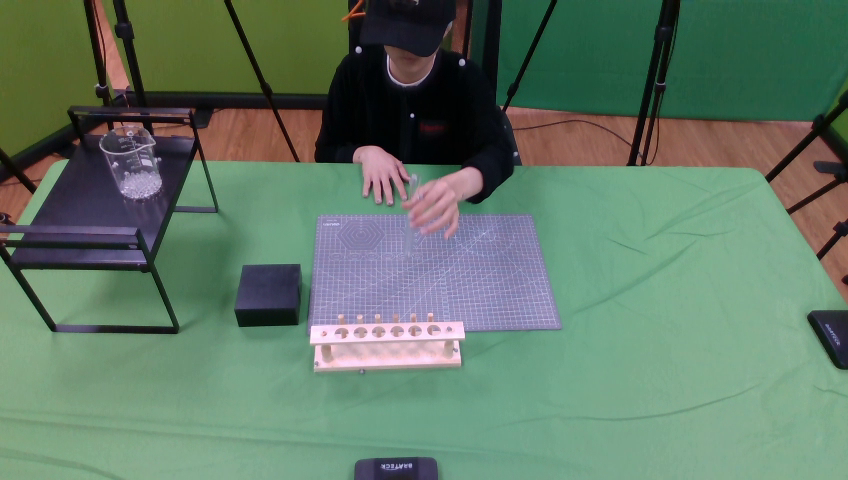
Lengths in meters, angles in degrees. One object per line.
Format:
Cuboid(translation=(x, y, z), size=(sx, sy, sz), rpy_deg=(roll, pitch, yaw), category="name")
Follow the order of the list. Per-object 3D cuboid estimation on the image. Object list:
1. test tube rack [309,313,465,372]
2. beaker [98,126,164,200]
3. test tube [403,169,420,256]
Cuboid(translation=(-0.059, 0.161, 0.990), size=(0.242, 0.085, 0.066), rpy_deg=(-1, 46, -5), category="test tube rack")
Cuboid(translation=(-0.464, -0.122, 0.977), size=(0.084, 0.101, 0.073), rpy_deg=(0, 46, -5), category="beaker")
Cuboid(translation=(-0.020, -0.040, 0.946), size=(0.017, 0.151, 0.017), rpy_deg=(5, 30, -3), category="test tube")
